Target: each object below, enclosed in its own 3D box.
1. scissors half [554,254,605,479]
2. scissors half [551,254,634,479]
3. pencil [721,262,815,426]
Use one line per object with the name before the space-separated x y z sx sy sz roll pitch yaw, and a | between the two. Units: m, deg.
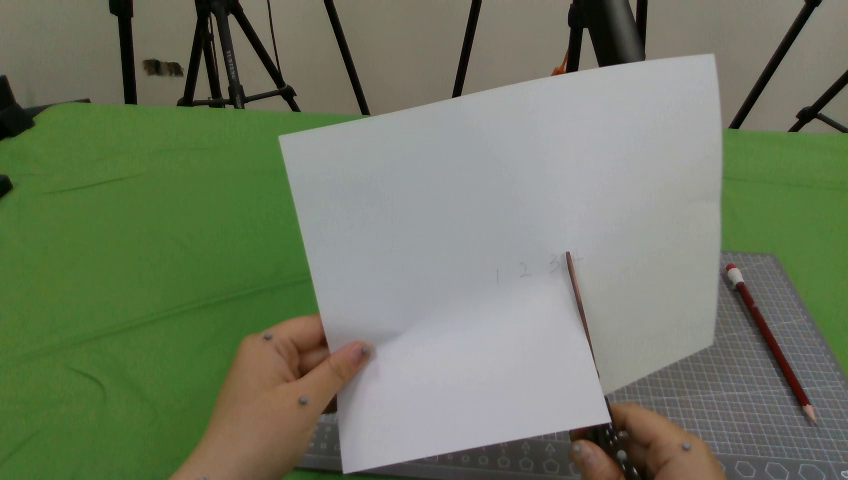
scissors half | 0.100 0.093 0.370 0.013 0.175 0.040 -14 3 -3
scissors half | 0.099 0.090 0.349 0.013 0.040 0.174 -14 73 2
pencil | 0.305 0.085 0.544 0.012 0.012 0.192 1 38 1
